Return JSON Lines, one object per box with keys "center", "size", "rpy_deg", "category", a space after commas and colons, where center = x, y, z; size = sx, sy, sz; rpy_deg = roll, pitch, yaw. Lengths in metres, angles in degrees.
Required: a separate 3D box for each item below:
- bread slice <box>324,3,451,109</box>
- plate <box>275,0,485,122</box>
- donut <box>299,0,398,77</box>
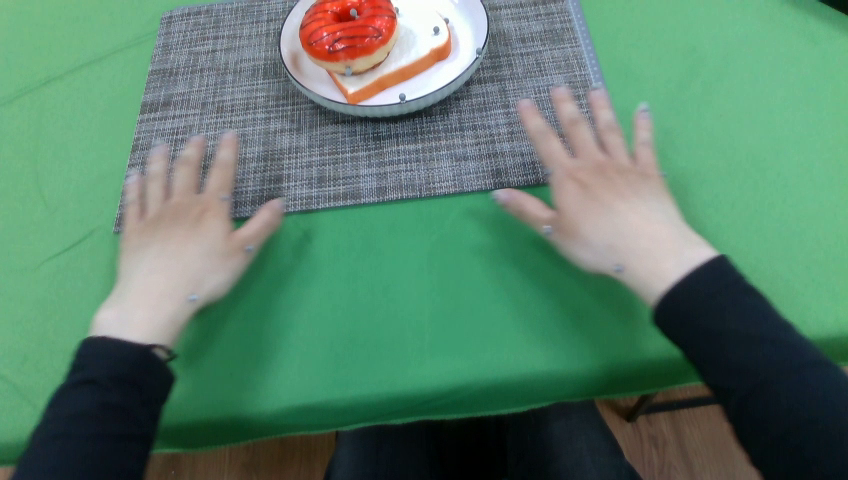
{"center": [-0.042, -0.195, 0.615], "size": [0.131, 0.019, 0.104], "rpy_deg": [-29, 60, -11], "category": "bread slice"}
{"center": [-0.042, -0.193, 0.611], "size": [0.207, 0.039, 0.205], "rpy_deg": [-2, 58, 3], "category": "plate"}
{"center": [-0.073, -0.200, 0.585], "size": [0.099, 0.049, 0.098], "rpy_deg": [-3, 60, 6], "category": "donut"}
